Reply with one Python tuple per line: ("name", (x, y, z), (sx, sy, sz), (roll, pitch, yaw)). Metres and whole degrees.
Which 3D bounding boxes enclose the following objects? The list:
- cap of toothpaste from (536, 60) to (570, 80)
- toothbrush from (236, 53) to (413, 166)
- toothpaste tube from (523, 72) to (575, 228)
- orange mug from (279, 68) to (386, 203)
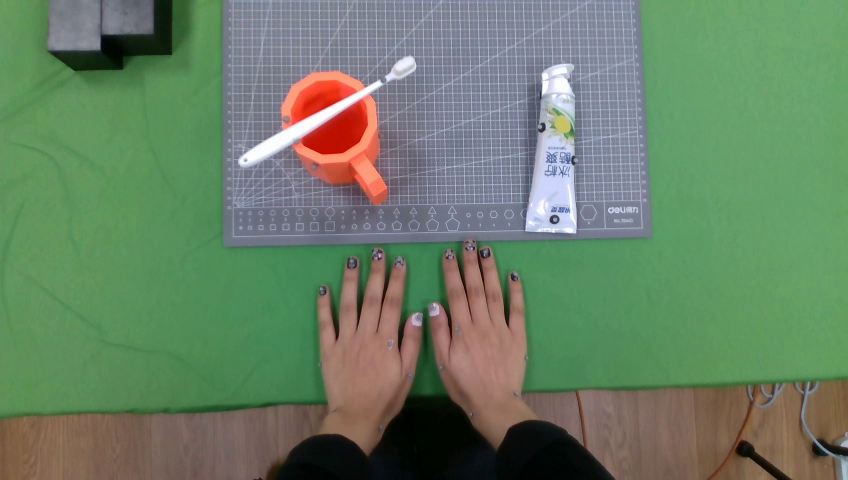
("cap of toothpaste", (0.137, -0.178, 0.639), (0.037, 0.037, 0.011), (-11, 82, -5))
("toothbrush", (-0.087, -0.116, 0.538), (0.182, 0.016, 0.014), (-32, 94, -5))
("toothpaste tube", (0.133, -0.096, 0.638), (0.055, 0.034, 0.165), (1, 89, 4))
("orange mug", (-0.079, -0.094, 0.588), (0.083, 0.101, 0.126), (-36, 84, -6))
